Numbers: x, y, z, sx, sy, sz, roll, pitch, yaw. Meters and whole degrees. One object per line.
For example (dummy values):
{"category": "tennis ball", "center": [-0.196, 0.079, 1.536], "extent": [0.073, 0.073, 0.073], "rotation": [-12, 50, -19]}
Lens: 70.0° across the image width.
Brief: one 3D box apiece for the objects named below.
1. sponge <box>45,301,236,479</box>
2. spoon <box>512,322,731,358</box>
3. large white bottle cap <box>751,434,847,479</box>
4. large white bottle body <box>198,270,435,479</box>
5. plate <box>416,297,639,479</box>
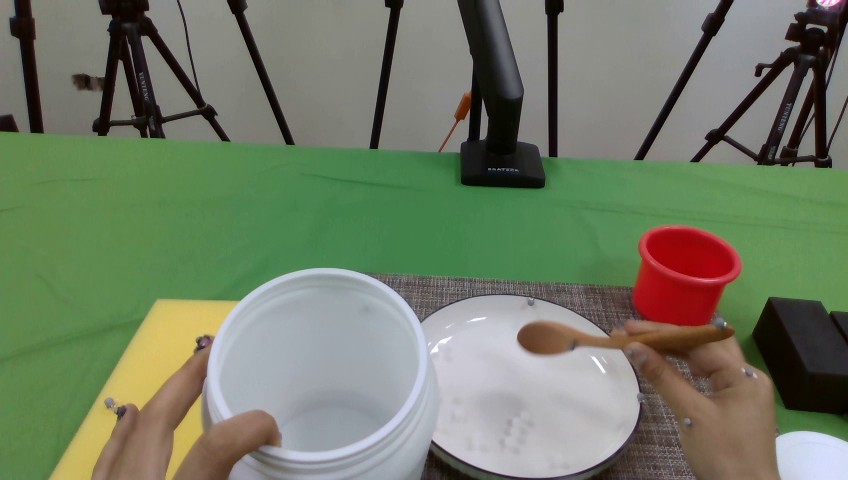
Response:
{"category": "sponge", "center": [-0.190, 0.138, 0.483], "extent": [0.118, 0.061, 0.205], "rotation": [1, 35, 1]}
{"category": "spoon", "center": [0.134, 0.075, 0.446], "extent": [0.021, 0.042, 0.193], "rotation": [-51, 18, -26]}
{"category": "large white bottle cap", "center": [0.313, 0.200, 0.463], "extent": [0.115, 0.018, 0.113], "rotation": [4, 36, -2]}
{"category": "large white bottle body", "center": [-0.062, 0.114, 0.373], "extent": [0.131, 0.186, 0.129], "rotation": [4, 51, -4]}
{"category": "plate", "center": [0.077, 0.129, 0.529], "extent": [0.209, 0.038, 0.207], "rotation": [2, 35, -1]}
